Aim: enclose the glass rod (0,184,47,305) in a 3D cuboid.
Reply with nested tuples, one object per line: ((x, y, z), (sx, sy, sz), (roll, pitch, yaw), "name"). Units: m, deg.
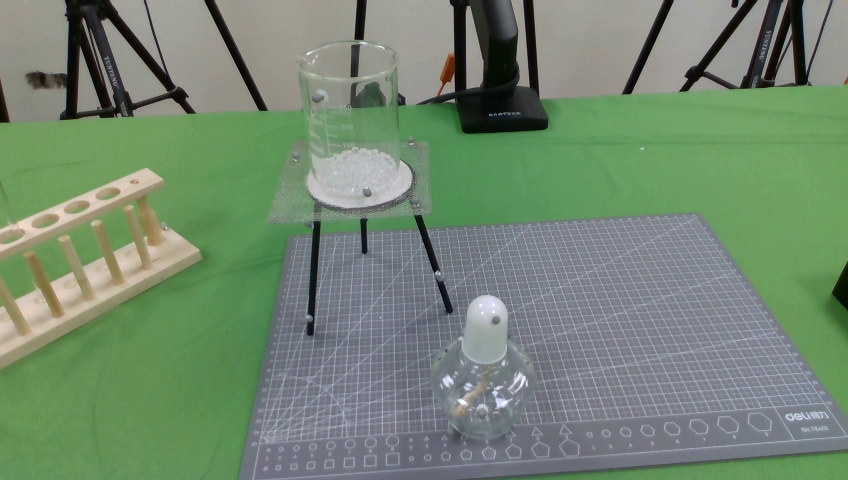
((-0.357, -0.027, 0.516), (0.008, 0.201, 0.008), (0, 30, 1), "glass rod")

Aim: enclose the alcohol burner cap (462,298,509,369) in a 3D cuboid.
((0.043, 0.060, 0.410), (0.034, 0.048, 0.033), (1, 39, -1), "alcohol burner cap")

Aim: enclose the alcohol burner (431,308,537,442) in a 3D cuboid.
((0.043, 0.089, 0.432), (0.078, 0.120, 0.077), (0, 40, 1), "alcohol burner")

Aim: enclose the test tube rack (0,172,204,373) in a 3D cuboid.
((-0.333, 0.032, 0.547), (0.066, 0.086, 0.242), (28, 46, 33), "test tube rack")

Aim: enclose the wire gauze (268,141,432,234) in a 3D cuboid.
((-0.055, -0.048, 0.489), (0.121, 0.011, 0.124), (-2, 39, 0), "wire gauze")

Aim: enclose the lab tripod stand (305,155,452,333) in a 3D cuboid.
((-0.045, 0.003, 0.531), (0.148, 0.132, 0.147), (0, 36, 0), "lab tripod stand")

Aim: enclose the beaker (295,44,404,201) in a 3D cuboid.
((-0.057, -0.088, 0.461), (0.083, 0.101, 0.074), (22, 42, 25), "beaker")
